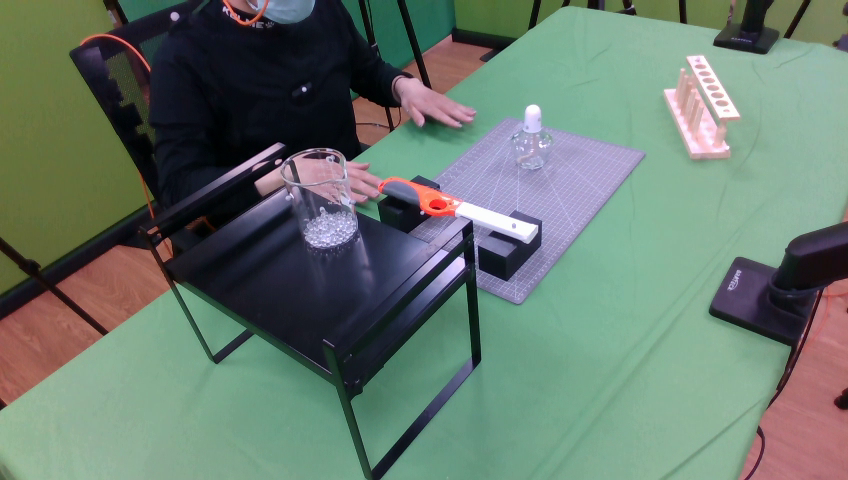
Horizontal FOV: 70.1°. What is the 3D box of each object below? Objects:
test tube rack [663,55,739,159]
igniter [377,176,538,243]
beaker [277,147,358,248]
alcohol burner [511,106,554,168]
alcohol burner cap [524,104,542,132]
[{"bbox_3d":[0.518,-0.256,1.144,0.066,0.085,0.241,-1,41,8],"label":"test tube rack"},{"bbox_3d":[0.046,-0.052,0.942,0.274,0.025,0.057,21,47,26],"label":"igniter"},{"bbox_3d":[-0.117,-0.046,0.705,0.083,0.101,0.074,17,47,25],"label":"beaker"},{"bbox_3d":[0.196,-0.190,1.088,0.078,0.119,0.077,-3,42,3],"label":"alcohol burner"},{"bbox_3d":[0.193,-0.216,1.065,0.034,0.048,0.033,-4,36,3],"label":"alcohol burner cap"}]
